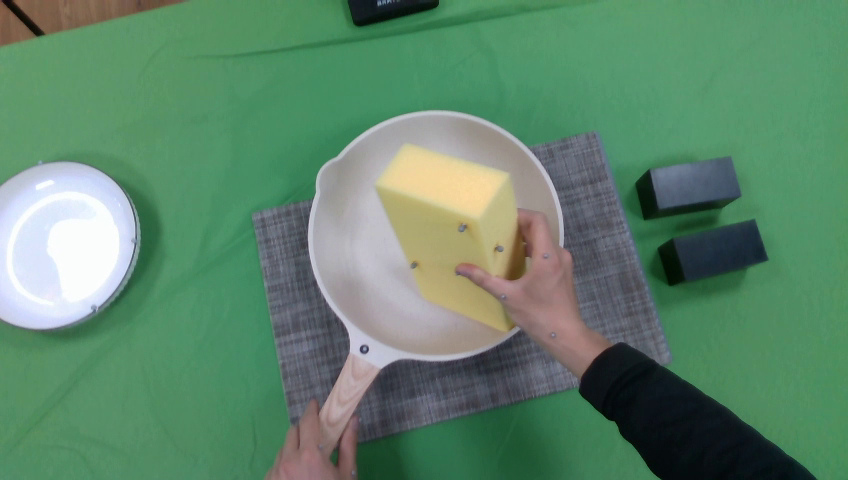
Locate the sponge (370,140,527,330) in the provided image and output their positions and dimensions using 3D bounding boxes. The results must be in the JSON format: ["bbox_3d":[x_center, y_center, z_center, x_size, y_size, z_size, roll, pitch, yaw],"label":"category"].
[{"bbox_3d":[0.034,0.001,0.633,0.117,0.209,0.060,20,61,28],"label":"sponge"}]

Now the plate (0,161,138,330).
[{"bbox_3d":[-0.450,0.007,0.739,0.208,0.039,0.206,0,78,0],"label":"plate"}]

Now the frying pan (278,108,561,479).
[{"bbox_3d":[-0.039,0.076,0.682,0.306,0.103,0.486,28,71,7],"label":"frying pan"}]
